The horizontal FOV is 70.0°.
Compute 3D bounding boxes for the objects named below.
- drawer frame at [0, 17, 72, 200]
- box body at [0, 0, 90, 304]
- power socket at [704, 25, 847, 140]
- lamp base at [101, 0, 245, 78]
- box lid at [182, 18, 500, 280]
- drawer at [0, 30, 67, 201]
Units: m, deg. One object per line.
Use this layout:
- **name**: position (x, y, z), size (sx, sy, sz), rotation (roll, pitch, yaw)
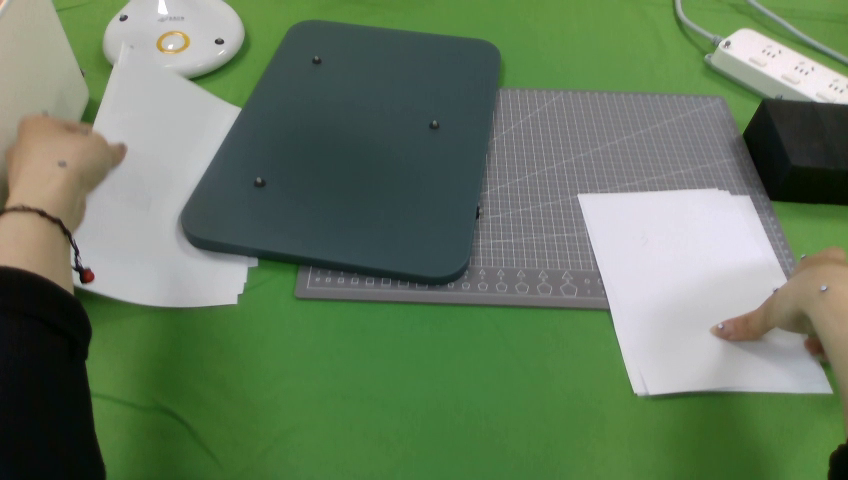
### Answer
- **drawer frame**: position (-0.450, -0.121, 0.521), size (0.202, 0.083, 0.211), rotation (7, 42, -14)
- **box body**: position (-0.463, -0.075, 0.489), size (0.254, 0.162, 0.360), rotation (-1, 52, -4)
- **power socket**: position (0.437, -0.181, 0.697), size (0.072, 0.033, 0.224), rotation (-33, 60, -26)
- **lamp base**: position (-0.297, -0.301, 0.662), size (0.161, 0.182, 0.177), rotation (-18, 52, -16)
- **box lid**: position (-0.064, -0.119, 0.635), size (0.263, 0.015, 0.368), rotation (9, 51, 4)
- **drawer**: position (-0.448, -0.118, 0.520), size (0.195, 0.074, 0.209), rotation (7, 42, -14)
